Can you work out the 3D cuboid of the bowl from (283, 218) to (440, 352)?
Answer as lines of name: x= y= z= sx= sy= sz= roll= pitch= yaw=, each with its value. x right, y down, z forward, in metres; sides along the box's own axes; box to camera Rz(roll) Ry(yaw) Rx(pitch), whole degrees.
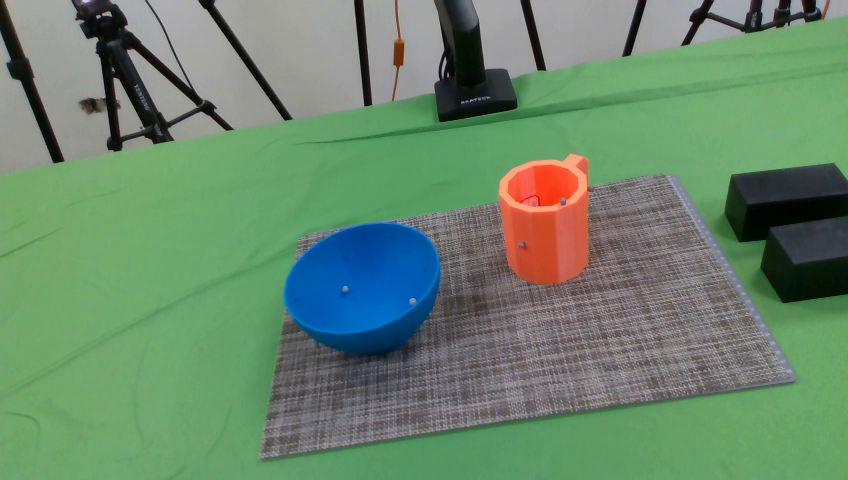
bowl: x=-0.052 y=0.056 z=0.591 sx=0.151 sy=0.077 sz=0.150 roll=-8 pitch=40 yaw=7

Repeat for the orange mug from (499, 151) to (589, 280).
orange mug: x=0.134 y=-0.033 z=0.626 sx=0.083 sy=0.102 sz=0.126 roll=22 pitch=55 yaw=34
